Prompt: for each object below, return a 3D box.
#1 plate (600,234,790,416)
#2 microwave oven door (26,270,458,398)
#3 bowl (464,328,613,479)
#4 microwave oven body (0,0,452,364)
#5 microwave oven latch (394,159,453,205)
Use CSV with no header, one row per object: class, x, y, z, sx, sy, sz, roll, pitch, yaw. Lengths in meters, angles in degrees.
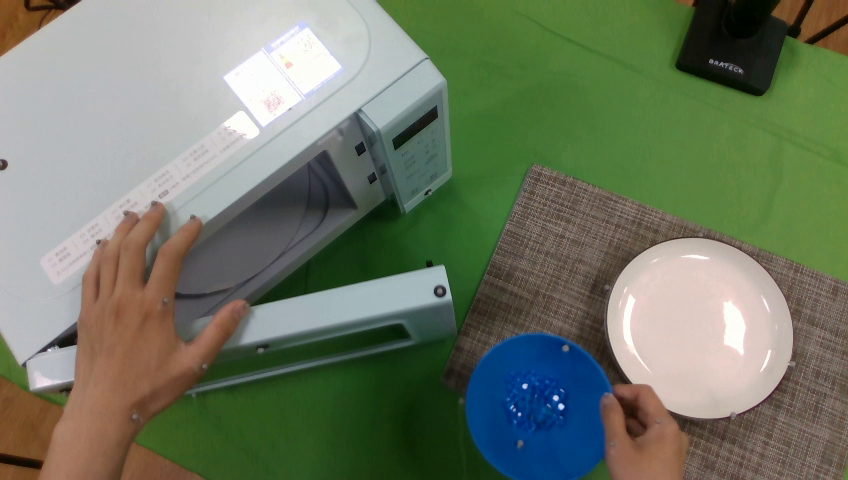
plate,0.306,0.097,0.699,0.207,0.039,0.206,-1,75,3
microwave oven door,-0.145,0.101,0.605,0.356,0.245,0.039,-12,73,0
bowl,0.116,0.173,0.645,0.151,0.077,0.150,0,75,1
microwave oven body,-0.238,-0.102,0.669,0.441,0.261,0.324,-39,77,-6
microwave oven latch,-0.001,-0.078,0.748,0.079,0.029,0.030,-37,77,-6
